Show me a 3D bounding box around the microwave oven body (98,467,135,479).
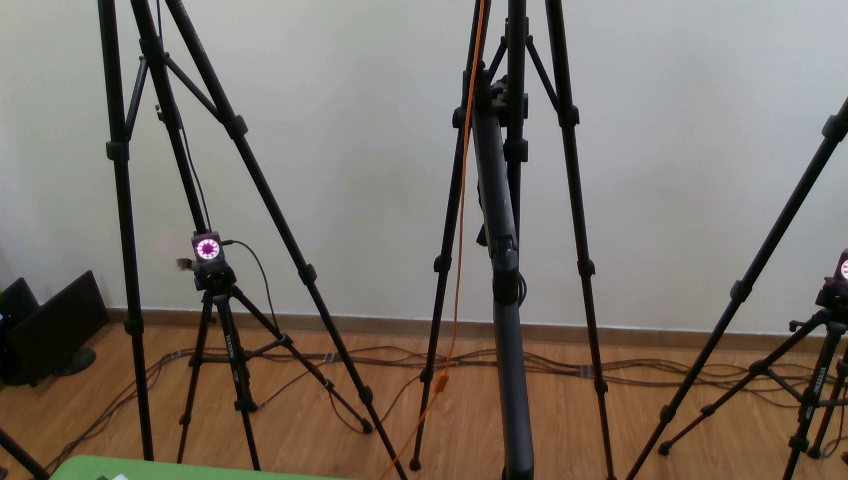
[{"bbox_3d":[-0.421,0.539,0.665,0.323,0.262,0.441,18,38,31],"label":"microwave oven body"}]
